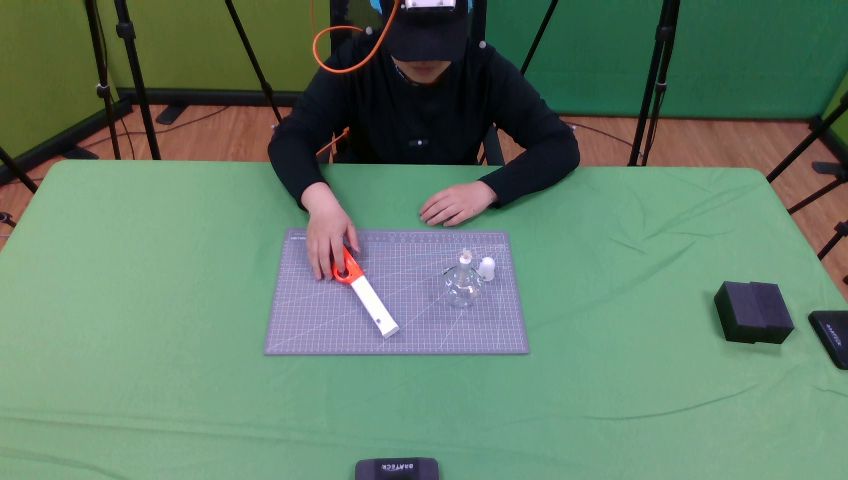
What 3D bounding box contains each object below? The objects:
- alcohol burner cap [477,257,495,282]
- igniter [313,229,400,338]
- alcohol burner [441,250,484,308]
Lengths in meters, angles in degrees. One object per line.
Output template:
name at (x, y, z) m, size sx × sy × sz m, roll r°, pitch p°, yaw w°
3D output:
alcohol burner cap at (0.118, 0.053, 1.140) m, size 0.034 × 0.048 × 0.033 m, roll 2°, pitch 46°, yaw -2°
igniter at (-0.129, 0.070, 1.111) m, size 0.057 × 0.025 × 0.275 m, roll -38°, pitch 57°, yaw -3°
alcohol burner at (0.069, 0.064, 1.075) m, size 0.078 × 0.120 × 0.077 m, roll 1°, pitch 45°, yaw -1°
